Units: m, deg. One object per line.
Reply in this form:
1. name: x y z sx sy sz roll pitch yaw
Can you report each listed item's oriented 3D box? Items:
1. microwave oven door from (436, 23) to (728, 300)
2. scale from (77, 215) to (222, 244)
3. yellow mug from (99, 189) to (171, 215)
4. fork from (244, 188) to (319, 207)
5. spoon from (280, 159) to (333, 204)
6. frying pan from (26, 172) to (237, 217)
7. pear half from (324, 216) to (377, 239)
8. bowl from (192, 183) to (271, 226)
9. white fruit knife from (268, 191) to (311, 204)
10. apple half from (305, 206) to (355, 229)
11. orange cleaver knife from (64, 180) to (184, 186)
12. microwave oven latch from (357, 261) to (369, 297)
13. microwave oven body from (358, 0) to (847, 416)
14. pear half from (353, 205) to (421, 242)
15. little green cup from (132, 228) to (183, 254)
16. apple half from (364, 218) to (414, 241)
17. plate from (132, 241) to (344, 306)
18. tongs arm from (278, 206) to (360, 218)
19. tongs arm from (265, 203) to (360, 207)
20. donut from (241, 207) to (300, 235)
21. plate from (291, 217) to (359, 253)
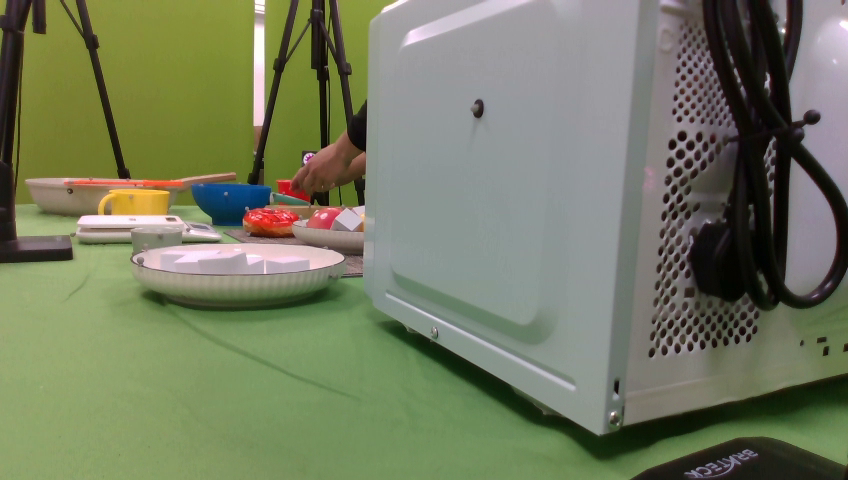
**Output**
1. microwave oven door: 0.180 -0.073 0.621 0.358 0.243 0.039 -2 9 -29
2. scale: -0.434 -0.019 0.963 0.202 0.031 0.148 -1 9 -27
3. yellow mug: -0.518 -0.055 1.080 0.099 0.064 0.131 6 9 26
4. fork: -0.356 -0.105 1.526 0.208 0.018 0.028 16 -4 -41
5. spoon: -0.317 -0.158 1.640 0.194 0.022 0.041 -50 32 -20
6. frying pan: -0.624 -0.118 1.387 0.305 0.102 0.490 8 17 32
7. pear half: -0.119 -0.023 0.996 0.088 0.031 0.070 -4 23 -28
8. bowl: -0.382 -0.071 1.202 0.151 0.077 0.151 3 7 0
9. white fruit knife: -0.364 -0.105 1.464 0.208 0.027 0.016 15 -1 -34
10. apple half: -0.138 -0.025 0.917 0.081 0.053 0.074 0 10 -43
11. orange cleaver knife: -0.595 -0.114 1.212 0.212 0.012 0.077 -4 6 -41
12. microwave oven latch: -0.019 0.033 0.530 0.079 0.029 0.030 -1 7 -26
13. microwave oven body: 0.211 -0.047 0.474 0.444 0.260 0.324 -1 7 -28
14. pear half: -0.051 -0.024 0.905 0.110 0.056 0.076 2 -1 -38
15. little green cup: -0.342 0.006 0.779 0.061 0.038 0.061 2 8 0
16. apple half: -0.054 -0.019 0.967 0.081 0.033 0.081 -4 10 1
17. plate: -0.187 0.033 0.625 0.208 0.039 0.207 2 7 0
18. tongs arm: -0.171 -0.066 1.402 0.387 0.026 0.050 -3 5 -40
19. tongs arm: -0.218 -0.074 1.470 0.389 0.027 0.028 -1 0 -26
20. donut: -0.263 -0.031 1.039 0.099 0.048 0.099 4 9 0
21. plate: -0.103 -0.009 0.945 0.209 0.038 0.209 2 7 0
